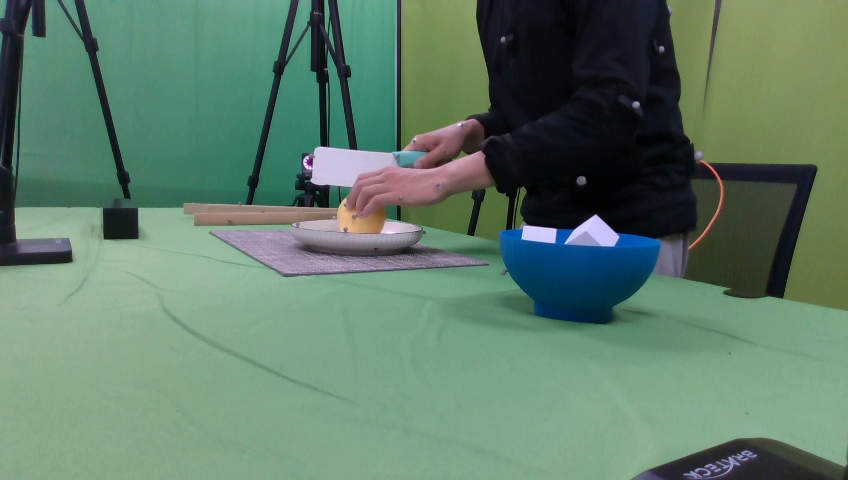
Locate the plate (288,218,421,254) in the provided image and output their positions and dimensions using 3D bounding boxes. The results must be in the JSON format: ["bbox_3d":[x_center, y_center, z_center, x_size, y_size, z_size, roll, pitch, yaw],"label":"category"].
[{"bbox_3d":[-0.109,-0.007,0.956,0.208,0.039,0.207,2,7,0],"label":"plate"}]

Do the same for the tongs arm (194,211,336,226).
[{"bbox_3d":[-0.298,-0.049,1.307,0.390,0.028,0.028,-3,8,-38],"label":"tongs arm"}]

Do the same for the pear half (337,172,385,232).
[{"bbox_3d":[-0.094,-0.051,0.951,0.077,0.110,0.055,-8,10,-38],"label":"pear half"}]

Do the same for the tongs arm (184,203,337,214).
[{"bbox_3d":[-0.337,-0.065,1.377,0.387,0.026,0.050,0,10,-25],"label":"tongs arm"}]

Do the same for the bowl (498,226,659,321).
[{"bbox_3d":[0.145,0.032,0.585,0.151,0.077,0.151,2,7,0],"label":"bowl"}]

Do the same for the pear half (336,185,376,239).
[{"bbox_3d":[-0.115,-0.046,0.980,0.071,0.088,0.031,-5,10,-40],"label":"pear half"}]

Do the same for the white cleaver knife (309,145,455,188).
[{"bbox_3d":[-0.063,-0.119,0.995,0.288,0.066,0.021,-4,9,-38],"label":"white cleaver knife"}]
